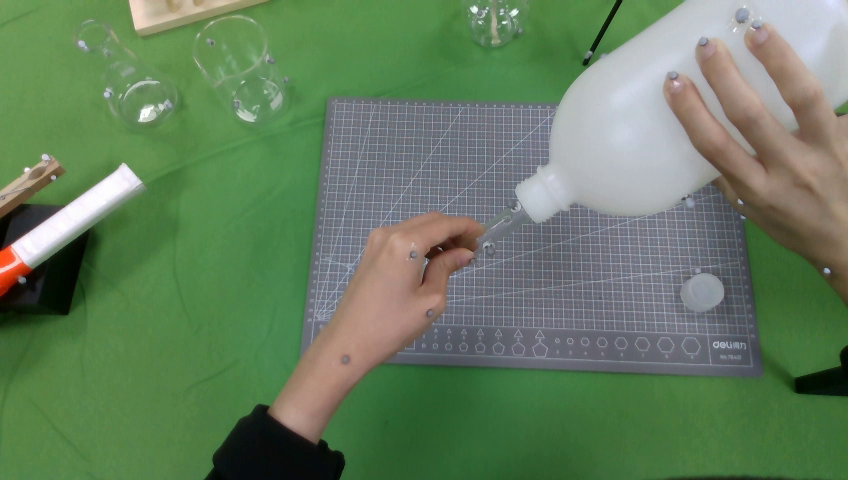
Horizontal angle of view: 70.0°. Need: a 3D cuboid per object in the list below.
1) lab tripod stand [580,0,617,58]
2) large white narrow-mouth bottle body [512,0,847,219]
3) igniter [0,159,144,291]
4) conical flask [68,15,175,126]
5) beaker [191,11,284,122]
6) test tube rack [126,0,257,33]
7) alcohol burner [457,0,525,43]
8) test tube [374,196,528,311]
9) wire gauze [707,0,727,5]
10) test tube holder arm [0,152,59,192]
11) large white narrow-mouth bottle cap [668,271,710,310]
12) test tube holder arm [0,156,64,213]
[{"bbox_3d":[0.245,-0.268,0.654,0.148,0.132,0.147,0,70,-1],"label":"lab tripod stand"},{"bbox_3d":[0.141,-0.075,0.364,0.194,0.102,0.101,-34,71,17],"label":"large white narrow-mouth bottle body"},{"bbox_3d":[-0.391,0.018,0.568,0.276,0.025,0.057,-41,77,-16],"label":"igniter"},{"bbox_3d":[-0.320,-0.180,0.635,0.075,0.122,0.075,0,70,1],"label":"conical flask"},{"bbox_3d":[-0.194,-0.177,0.645,0.074,0.101,0.083,16,72,7],"label":"beaker"},{"bbox_3d":[-0.239,-0.326,0.703,0.242,0.086,0.066,-18,72,-6],"label":"test tube rack"},{"bbox_3d":[0.076,-0.276,0.669,0.078,0.120,0.077,0,69,0],"label":"alcohol burner"},{"bbox_3d":[0.016,0.013,0.437,0.150,0.017,0.017,-36,68,30],"label":"test tube"},{"bbox_3d":[0.251,-0.292,0.591,0.121,0.011,0.124,23,74,6],"label":"wire gauze"},{"bbox_3d":[-0.434,-0.025,0.586,0.178,0.015,0.013,-41,75,-13],"label":"test tube holder arm"},{"bbox_3d":[0.264,0.050,0.603,0.038,0.024,0.037,0,72,1],"label":"large white narrow-mouth bottle cap"},{"bbox_3d":[-0.397,-0.050,0.595,0.088,0.015,0.010,-40,75,-13],"label":"test tube holder arm"}]
